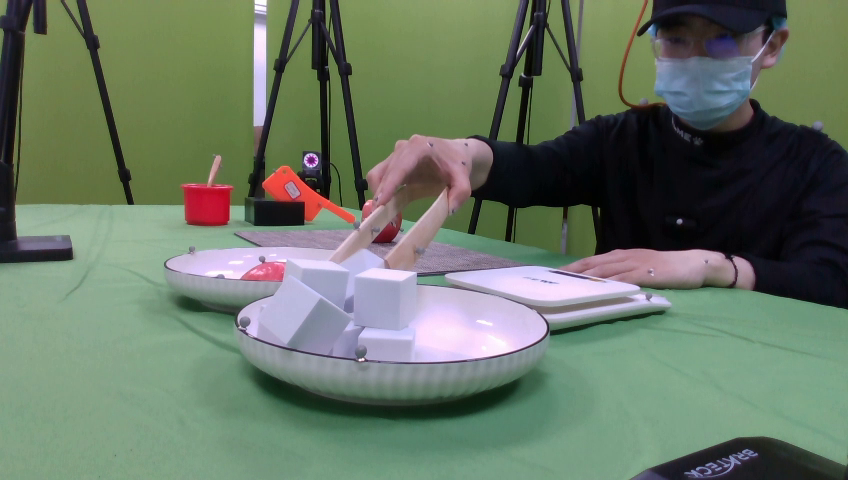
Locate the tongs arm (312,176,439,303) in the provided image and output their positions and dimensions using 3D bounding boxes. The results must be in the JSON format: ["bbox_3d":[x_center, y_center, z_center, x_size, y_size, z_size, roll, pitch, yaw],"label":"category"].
[{"bbox_3d":[-0.029,-0.018,0.593,0.051,0.026,0.385,-7,14,9],"label":"tongs arm"}]

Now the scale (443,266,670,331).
[{"bbox_3d":[0.131,0.052,0.602,0.202,0.031,0.148,-2,9,-37],"label":"scale"}]

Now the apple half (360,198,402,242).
[{"bbox_3d":[-0.066,-0.032,1.014,0.053,0.074,0.081,9,6,21],"label":"apple half"}]

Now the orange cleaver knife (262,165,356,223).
[{"bbox_3d":[-0.243,-0.081,1.292,0.212,0.077,0.012,34,-8,-26],"label":"orange cleaver knife"}]

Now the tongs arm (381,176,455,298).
[{"bbox_3d":[0.002,-0.021,0.587,0.028,0.028,0.388,-10,13,11],"label":"tongs arm"}]

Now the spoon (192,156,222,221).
[{"bbox_3d":[-0.430,-0.108,1.222,0.041,0.021,0.193,-2,52,1],"label":"spoon"}]

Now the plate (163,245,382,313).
[{"bbox_3d":[-0.145,0.038,0.600,0.209,0.038,0.209,2,8,0],"label":"plate"}]

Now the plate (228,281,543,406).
[{"bbox_3d":[-0.025,0.067,0.413,0.208,0.039,0.207,3,7,0],"label":"plate"}]

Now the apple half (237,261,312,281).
[{"bbox_3d":[-0.141,0.036,0.578,0.081,0.033,0.081,2,11,0],"label":"apple half"}]
